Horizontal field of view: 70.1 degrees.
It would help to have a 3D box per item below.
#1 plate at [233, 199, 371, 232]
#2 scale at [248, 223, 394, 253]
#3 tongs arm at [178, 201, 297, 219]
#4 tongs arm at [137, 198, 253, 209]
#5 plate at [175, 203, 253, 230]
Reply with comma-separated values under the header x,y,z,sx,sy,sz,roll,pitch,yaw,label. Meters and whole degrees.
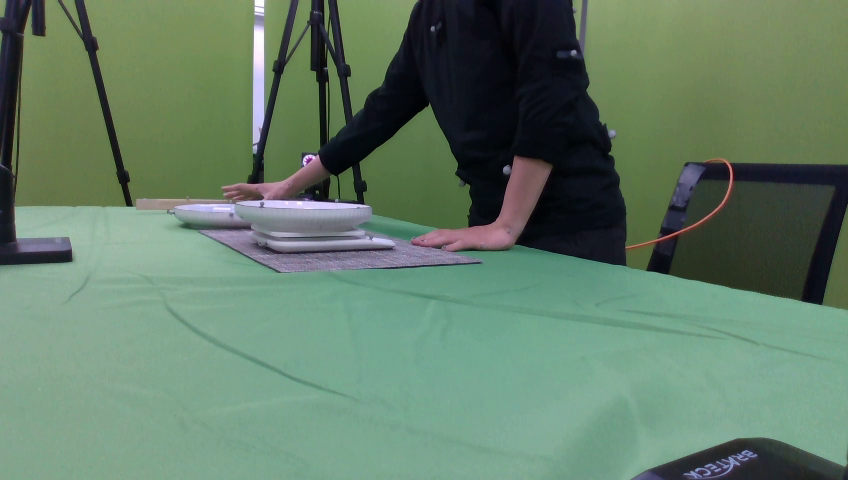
x,y,z,sx,sy,sz,roll,pitch,yaw,label
-0.188,-0.039,0.939,0.209,0.038,0.209,2,7,0,plate
-0.162,-0.006,0.954,0.202,0.031,0.148,-2,8,-32,scale
-0.418,-0.073,1.419,0.028,0.028,0.389,3,6,28,tongs arm
-0.489,-0.086,1.472,0.050,0.026,0.387,10,9,42,tongs arm
-0.381,-0.047,1.199,0.208,0.039,0.207,3,7,0,plate
